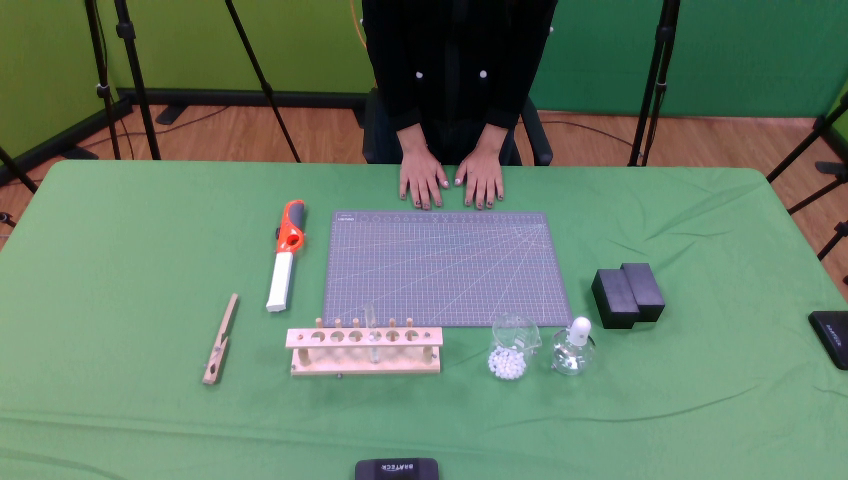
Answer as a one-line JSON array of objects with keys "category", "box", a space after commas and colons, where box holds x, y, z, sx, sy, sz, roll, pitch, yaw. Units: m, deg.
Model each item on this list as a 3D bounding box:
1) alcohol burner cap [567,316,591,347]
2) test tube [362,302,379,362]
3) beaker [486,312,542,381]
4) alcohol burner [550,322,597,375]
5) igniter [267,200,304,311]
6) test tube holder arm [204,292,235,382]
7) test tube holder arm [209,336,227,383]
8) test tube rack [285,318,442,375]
[{"category": "alcohol burner cap", "box": [0.248, 0.143, 0.965, 0.034, 0.048, 0.033, 4, 40, -3]}, {"category": "test tube", "box": [-0.082, 0.146, 0.939, 0.017, 0.151, 0.017, 0, 48, 1]}, {"category": "beaker", "box": [0.144, 0.177, 0.985, 0.084, 0.101, 0.074, 22, 49, 16]}, {"category": "alcohol burner", "box": [0.248, 0.168, 0.991, 0.078, 0.119, 0.077, 2, 48, -2]}, {"category": "igniter", "box": [-0.263, 0.020, 1.156, 0.057, 0.025, 0.274, -6, 46, 4]}, {"category": "test tube holder arm", "box": [-0.343, 0.159, 1.020, 0.013, 0.015, 0.177, 27, 39, -27]}, {"category": "test tube holder arm", "box": [-0.338, 0.193, 0.991, 0.010, 0.015, 0.087, 29, 38, -26]}, {"category": "test tube rack", "box": [-0.095, 0.167, 0.986, 0.242, 0.085, 0.066, 0, 46, -4]}]
